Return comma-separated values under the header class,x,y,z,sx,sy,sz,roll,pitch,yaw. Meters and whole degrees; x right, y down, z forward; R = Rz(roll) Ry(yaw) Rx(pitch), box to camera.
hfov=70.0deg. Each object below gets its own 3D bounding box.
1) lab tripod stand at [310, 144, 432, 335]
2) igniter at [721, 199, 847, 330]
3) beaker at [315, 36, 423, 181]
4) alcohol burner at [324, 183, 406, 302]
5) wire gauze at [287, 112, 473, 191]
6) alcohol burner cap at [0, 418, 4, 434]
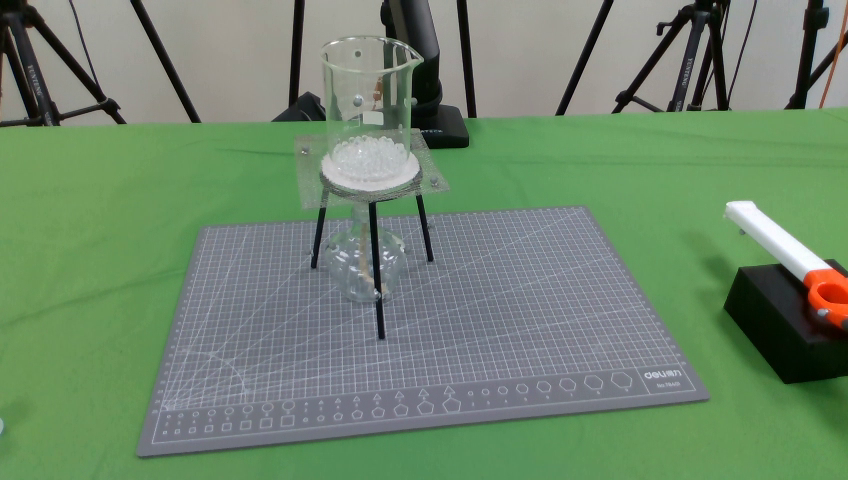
class,x,y,z,sx,sy,sz,roll,pitch,yaw
lab tripod stand,-0.046,-0.008,0.560,0.148,0.132,0.147,3,37,-2
igniter,0.351,0.037,0.532,0.057,0.025,0.273,-4,33,-8
beaker,-0.044,-0.107,0.501,0.084,0.101,0.073,-5,40,-10
alcohol burner,-0.055,-0.001,0.567,0.078,0.120,0.077,3,35,-2
wire gauze,-0.039,-0.076,0.516,0.125,0.011,0.120,-16,38,-30
alcohol burner cap,-0.334,0.127,0.442,0.034,0.048,0.033,3,34,-2
